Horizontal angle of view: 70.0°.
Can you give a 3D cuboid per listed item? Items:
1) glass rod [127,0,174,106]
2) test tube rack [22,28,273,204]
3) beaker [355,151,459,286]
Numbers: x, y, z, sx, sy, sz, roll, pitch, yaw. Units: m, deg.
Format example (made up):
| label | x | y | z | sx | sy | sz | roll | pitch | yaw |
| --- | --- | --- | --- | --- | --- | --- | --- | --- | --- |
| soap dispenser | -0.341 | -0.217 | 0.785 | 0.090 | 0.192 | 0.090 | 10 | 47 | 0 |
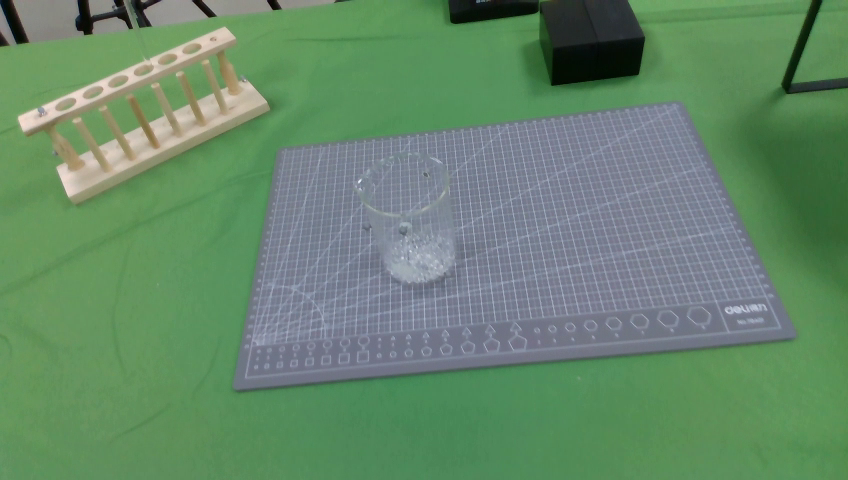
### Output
| label | x | y | z | sx | sy | sz | roll | pitch | yaw |
| --- | --- | --- | --- | --- | --- | --- | --- | --- | --- |
| glass rod | -0.301 | -0.211 | 0.660 | 0.008 | 0.201 | 0.008 | -2 | 43 | 2 |
| test tube rack | -0.306 | -0.144 | 0.692 | 0.242 | 0.086 | 0.066 | -31 | 53 | -17 |
| beaker | -0.010 | -0.015 | 0.524 | 0.084 | 0.101 | 0.073 | 2 | 50 | 11 |
